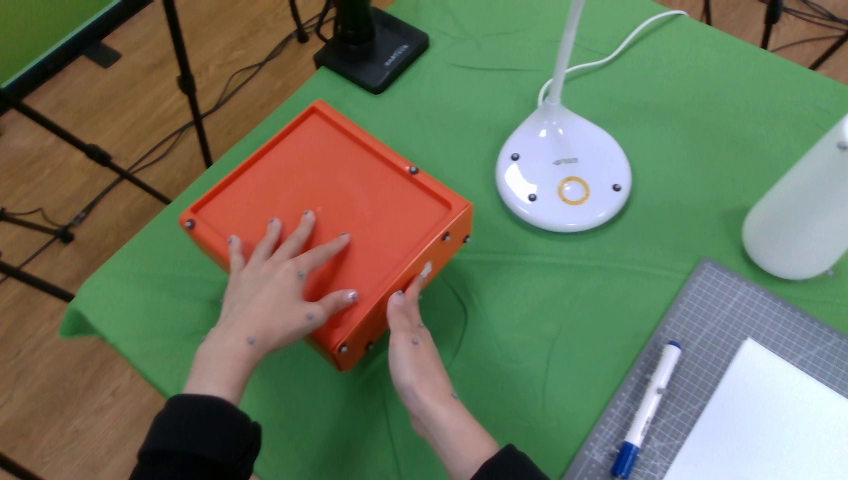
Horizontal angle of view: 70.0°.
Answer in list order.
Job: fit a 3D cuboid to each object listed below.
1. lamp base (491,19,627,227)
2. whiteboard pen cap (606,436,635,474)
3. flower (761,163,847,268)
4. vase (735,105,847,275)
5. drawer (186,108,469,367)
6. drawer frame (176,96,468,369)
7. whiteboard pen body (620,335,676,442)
[{"bbox_3d":[0.152,-0.132,0.663,0.161,0.182,0.177,-18,59,-7],"label":"lamp base"},{"bbox_3d":[0.186,0.202,0.570,0.018,0.018,0.033,26,67,16],"label":"whiteboard pen cap"},{"bbox_3d":[0.398,-0.094,0.526,0.038,0.364,0.044,20,46,6],"label":"flower"},{"bbox_3d":[0.386,-0.045,0.594,0.098,0.202,0.097,-2,60,3],"label":"vase"},{"bbox_3d":[-0.094,-0.012,0.616,0.210,0.074,0.194,35,69,19],"label":"drawer"},{"bbox_3d":[-0.098,-0.013,0.620,0.212,0.083,0.201,36,70,17],"label":"drawer frame"},{"bbox_3d":[0.215,0.155,0.591,0.017,0.017,0.140,26,68,17],"label":"whiteboard pen body"}]
